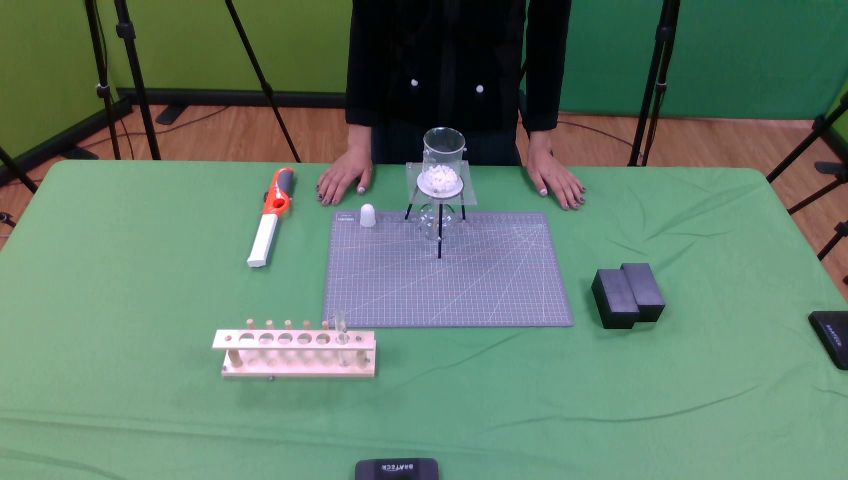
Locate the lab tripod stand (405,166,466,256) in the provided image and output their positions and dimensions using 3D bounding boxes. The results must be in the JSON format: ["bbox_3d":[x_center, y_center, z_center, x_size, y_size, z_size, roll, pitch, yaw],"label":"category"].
[{"bbox_3d":[0.030,-0.063,1.180,0.148,0.132,0.147,3,47,-3],"label":"lab tripod stand"}]

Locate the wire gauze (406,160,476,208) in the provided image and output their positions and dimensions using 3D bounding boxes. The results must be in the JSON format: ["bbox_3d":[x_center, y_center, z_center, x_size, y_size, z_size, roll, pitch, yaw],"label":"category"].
[{"bbox_3d":[0.030,-0.107,1.130,0.125,0.011,0.120,1,48,-7],"label":"wire gauze"}]

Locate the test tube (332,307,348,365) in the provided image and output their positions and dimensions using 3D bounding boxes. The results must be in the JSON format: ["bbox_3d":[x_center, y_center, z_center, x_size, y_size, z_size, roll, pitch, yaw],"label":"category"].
[{"bbox_3d":[-0.128,0.151,0.931,0.017,0.151,0.017,1,50,-2],"label":"test tube"}]

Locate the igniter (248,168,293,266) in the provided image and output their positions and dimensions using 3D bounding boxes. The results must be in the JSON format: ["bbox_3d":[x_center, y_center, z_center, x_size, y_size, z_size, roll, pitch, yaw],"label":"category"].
[{"bbox_3d":[-0.307,-0.055,1.225,0.057,0.025,0.275,-3,45,6],"label":"igniter"}]

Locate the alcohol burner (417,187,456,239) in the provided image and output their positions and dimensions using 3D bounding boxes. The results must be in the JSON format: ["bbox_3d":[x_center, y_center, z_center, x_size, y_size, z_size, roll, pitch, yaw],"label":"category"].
[{"bbox_3d":[0.025,-0.059,1.189,0.078,0.120,0.077,1,48,-1],"label":"alcohol burner"}]

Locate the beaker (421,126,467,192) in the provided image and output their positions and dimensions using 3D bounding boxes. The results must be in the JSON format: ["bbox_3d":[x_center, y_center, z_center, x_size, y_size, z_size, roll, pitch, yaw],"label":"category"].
[{"bbox_3d":[0.031,-0.146,1.100,0.074,0.101,0.083,-16,50,-20],"label":"beaker"}]

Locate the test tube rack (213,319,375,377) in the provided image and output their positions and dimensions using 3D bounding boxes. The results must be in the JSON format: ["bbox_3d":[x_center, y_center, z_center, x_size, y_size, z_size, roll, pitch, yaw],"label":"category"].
[{"bbox_3d":[-0.202,0.170,0.977,0.242,0.085,0.066,1,46,-3],"label":"test tube rack"}]

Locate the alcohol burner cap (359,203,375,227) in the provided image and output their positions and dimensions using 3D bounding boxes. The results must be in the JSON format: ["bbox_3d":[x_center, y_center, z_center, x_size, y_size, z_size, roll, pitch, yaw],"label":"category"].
[{"bbox_3d":[-0.115,-0.053,1.224,0.034,0.048,0.033,3,47,-3],"label":"alcohol burner cap"}]
